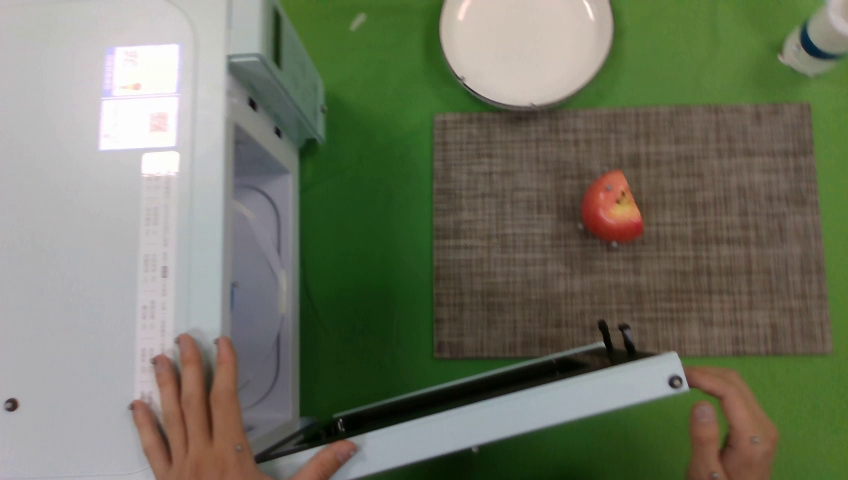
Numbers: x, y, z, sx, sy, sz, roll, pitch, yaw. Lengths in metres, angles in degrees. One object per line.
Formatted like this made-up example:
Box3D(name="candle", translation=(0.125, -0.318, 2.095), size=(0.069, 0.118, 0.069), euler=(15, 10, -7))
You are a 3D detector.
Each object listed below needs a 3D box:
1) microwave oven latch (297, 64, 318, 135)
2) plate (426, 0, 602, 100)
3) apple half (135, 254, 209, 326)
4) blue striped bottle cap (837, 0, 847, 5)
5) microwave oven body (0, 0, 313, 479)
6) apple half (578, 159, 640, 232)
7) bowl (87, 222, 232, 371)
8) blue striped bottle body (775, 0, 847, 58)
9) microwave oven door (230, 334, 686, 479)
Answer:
Box3D(name="microwave oven latch", translation=(-0.143, -0.167, 0.722), size=(0.030, 0.029, 0.079), euler=(-3, 83, 3))
Box3D(name="plate", translation=(0.107, -0.266, 0.737), size=(0.207, 0.039, 0.207), euler=(0, 83, 3))
Box3D(name="apple half", translation=(-0.266, 0.055, 0.635), size=(0.081, 0.032, 0.081), euler=(0, 92, -7))
Box3D(name="blue striped bottle cap", translation=(0.446, -0.264, 0.621), size=(0.044, 0.020, 0.044), euler=(0, 85, 4))
Box3D(name="microwave oven body", translation=(-0.288, 0.004, 0.612), size=(0.326, 0.261, 0.440), euler=(-4, 83, 3))
Box3D(name="apple half", translation=(0.201, -0.044, 0.682), size=(0.053, 0.075, 0.080), euler=(-22, 85, 6))
Box3D(name="bowl", translation=(-0.265, 0.056, 0.646), size=(0.151, 0.077, 0.151), euler=(0, 94, 9))
Box3D(name="blue striped bottle body", translation=(0.450, -0.256, 0.671), size=(0.063, 0.121, 0.063), euler=(-1, 82, 4))
Box3D(name="microwave oven door", translation=(0.032, 0.156, 0.569), size=(0.356, 0.244, 0.039), euler=(-17, 81, 1))
